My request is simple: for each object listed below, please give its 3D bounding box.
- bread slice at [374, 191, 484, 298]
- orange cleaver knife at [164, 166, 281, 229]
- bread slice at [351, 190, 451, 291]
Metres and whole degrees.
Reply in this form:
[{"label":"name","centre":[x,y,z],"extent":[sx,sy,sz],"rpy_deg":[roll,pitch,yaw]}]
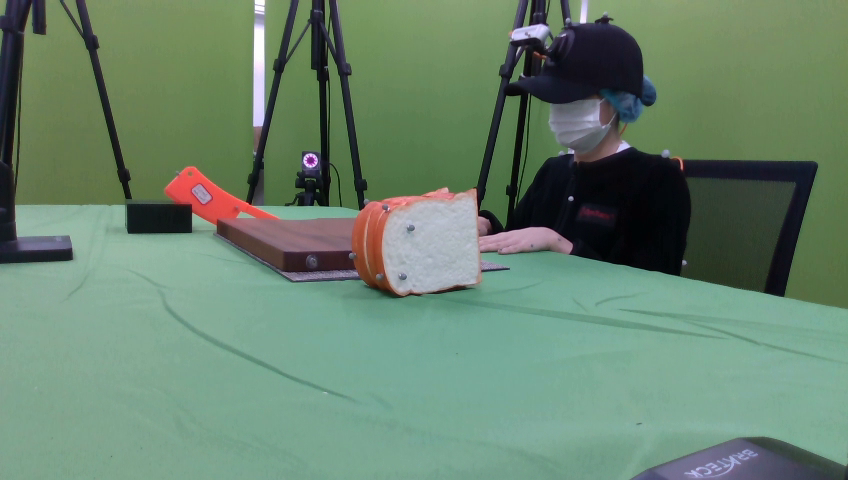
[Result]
[{"label":"bread slice","centre":[0.008,0.009,0.639],"extent":[0.135,0.107,0.018],"rpy_deg":[-12,9,-36]},{"label":"orange cleaver knife","centre":[-0.369,-0.061,1.121],"extent":[0.212,0.077,0.012],"rpy_deg":[31,-9,-29]},{"label":"bread slice","centre":[-0.022,0.001,0.679],"extent":[0.132,0.105,0.019],"rpy_deg":[-9,10,-33]}]
